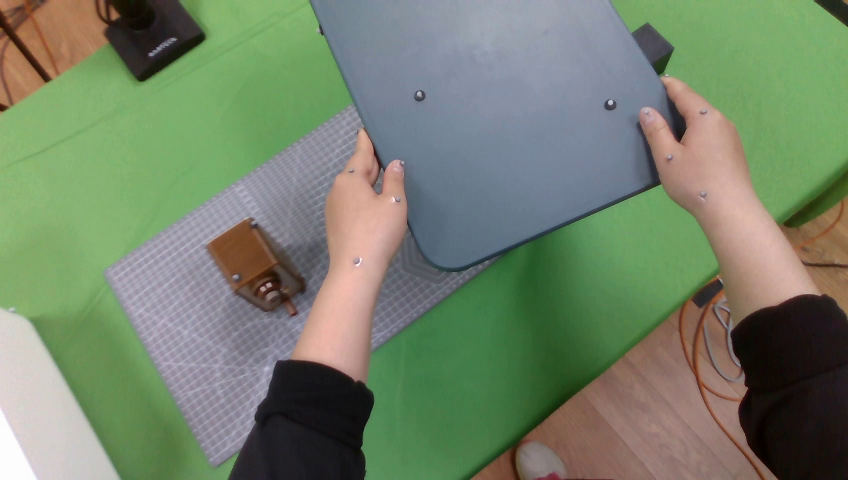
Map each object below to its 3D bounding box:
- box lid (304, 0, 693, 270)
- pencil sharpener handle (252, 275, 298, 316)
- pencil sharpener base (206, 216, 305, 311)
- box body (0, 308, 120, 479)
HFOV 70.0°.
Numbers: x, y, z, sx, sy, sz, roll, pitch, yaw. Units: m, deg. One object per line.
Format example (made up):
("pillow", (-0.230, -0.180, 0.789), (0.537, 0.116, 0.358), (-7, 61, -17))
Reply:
("box lid", (0.053, -0.177, 0.574), (0.263, 0.015, 0.369), (-24, 73, -3))
("pencil sharpener handle", (-0.164, 0.066, 0.685), (0.036, 0.068, 0.030), (-37, 71, -2))
("pencil sharpener base", (-0.193, 0.033, 0.712), (0.061, 0.108, 0.076), (-35, 71, -7))
("box body", (-0.503, 0.261, 0.638), (0.254, 0.161, 0.361), (-39, 71, -8))
